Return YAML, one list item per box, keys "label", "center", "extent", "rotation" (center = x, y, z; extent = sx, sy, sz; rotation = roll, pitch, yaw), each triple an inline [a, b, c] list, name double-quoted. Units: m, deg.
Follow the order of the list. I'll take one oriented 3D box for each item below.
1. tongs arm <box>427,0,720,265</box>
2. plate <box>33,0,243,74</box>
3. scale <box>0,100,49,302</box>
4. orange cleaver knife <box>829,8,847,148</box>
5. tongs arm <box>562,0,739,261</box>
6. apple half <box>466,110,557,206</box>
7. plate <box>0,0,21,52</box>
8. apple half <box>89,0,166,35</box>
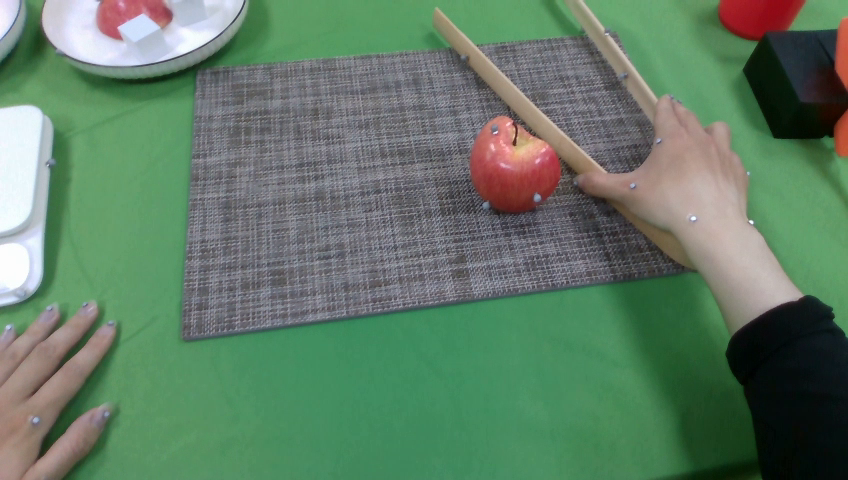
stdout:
- label: "tongs arm"
  center: [0.118, -0.116, 0.576]
  extent: [0.028, 0.028, 0.384]
  rotation: [-29, 64, -22]
- label: "plate"
  center: [-0.294, -0.246, 0.642]
  extent: [0.209, 0.038, 0.207]
  rotation: [1, 58, -1]
- label: "scale"
  center: [-0.399, -0.030, 0.508]
  extent: [0.149, 0.032, 0.199]
  rotation: [-12, 60, -9]
- label: "orange cleaver knife"
  center: [0.396, -0.112, 0.550]
  extent: [0.012, 0.077, 0.211]
  rotation: [-2, 90, -3]
- label: "tongs arm"
  center: [0.192, -0.147, 0.595]
  extent: [0.051, 0.027, 0.381]
  rotation: [-18, 61, -13]
- label: "apple half"
  center: [0.066, -0.062, 0.515]
  extent: [0.080, 0.075, 0.053]
  rotation: [40, 69, 17]
- label: "plate"
  center: [-0.516, -0.214, 0.615]
  extent: [0.208, 0.039, 0.205]
  rotation: [1, 58, -1]
- label: "apple half"
  center: [-0.316, -0.253, 0.639]
  extent: [0.081, 0.033, 0.080]
  rotation: [-1, 56, 2]
